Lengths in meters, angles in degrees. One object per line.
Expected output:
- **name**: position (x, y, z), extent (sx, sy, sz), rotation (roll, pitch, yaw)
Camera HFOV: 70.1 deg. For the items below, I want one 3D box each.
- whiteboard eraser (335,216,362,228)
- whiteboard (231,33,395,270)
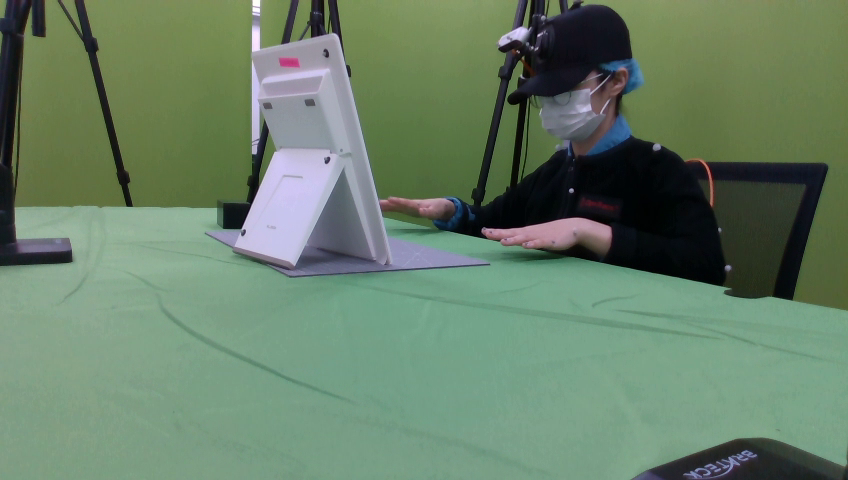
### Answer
- **whiteboard eraser**: position (-0.159, -0.039, 1.277), extent (0.041, 0.019, 0.101), rotation (3, 7, 6)
- **whiteboard**: position (-0.193, -0.094, 0.805), extent (0.144, 0.305, 0.216), rotation (-28, 25, -35)
